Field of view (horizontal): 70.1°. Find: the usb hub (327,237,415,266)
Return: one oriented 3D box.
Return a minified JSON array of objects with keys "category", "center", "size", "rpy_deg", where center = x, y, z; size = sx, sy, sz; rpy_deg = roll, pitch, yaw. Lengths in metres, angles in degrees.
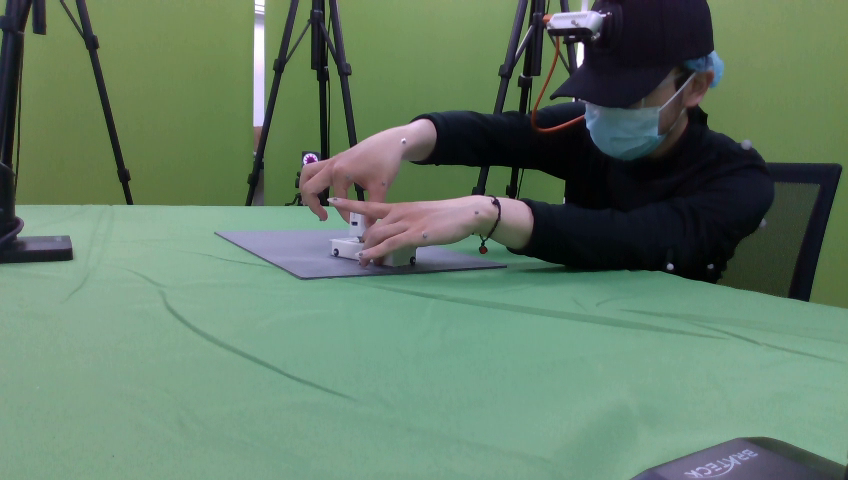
[{"category":"usb hub","center":[-0.075,0.014,0.837],"size":[0.124,0.025,0.050],"rpy_deg":[7,8,39]}]

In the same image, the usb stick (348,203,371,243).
[{"category":"usb stick","center":[-0.089,-0.021,0.828],"size":[0.021,0.059,0.027],"rpy_deg":[7,9,35]}]
